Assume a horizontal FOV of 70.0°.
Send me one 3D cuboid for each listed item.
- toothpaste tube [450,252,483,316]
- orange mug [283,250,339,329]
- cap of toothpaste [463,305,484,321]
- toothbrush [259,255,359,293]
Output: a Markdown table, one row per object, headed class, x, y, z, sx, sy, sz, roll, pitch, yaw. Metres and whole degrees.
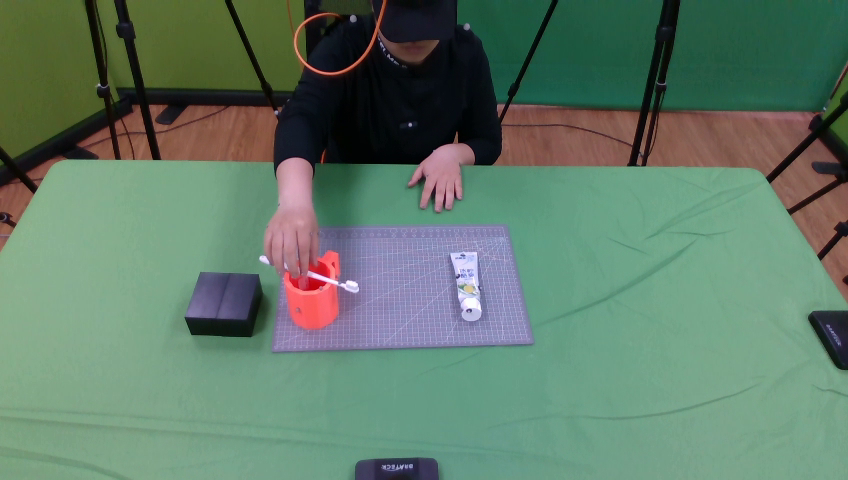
| class | x | y | z | sx | sy | sz | roll | pitch | yaw |
| --- | --- | --- | --- | --- | --- | --- | --- | --- | --- |
| toothpaste tube | 0.084 | 0.077 | 1.122 | 0.055 | 0.035 | 0.164 | 2 | 41 | -8 |
| orange mug | -0.186 | 0.078 | 1.052 | 0.083 | 0.101 | 0.126 | 20 | 52 | 15 |
| cap of toothpaste | 0.087 | 0.127 | 1.063 | 0.037 | 0.037 | 0.011 | 2 | 40 | -2 |
| toothbrush | -0.192 | 0.054 | 1.002 | 0.181 | 0.017 | 0.014 | 17 | 53 | 11 |
